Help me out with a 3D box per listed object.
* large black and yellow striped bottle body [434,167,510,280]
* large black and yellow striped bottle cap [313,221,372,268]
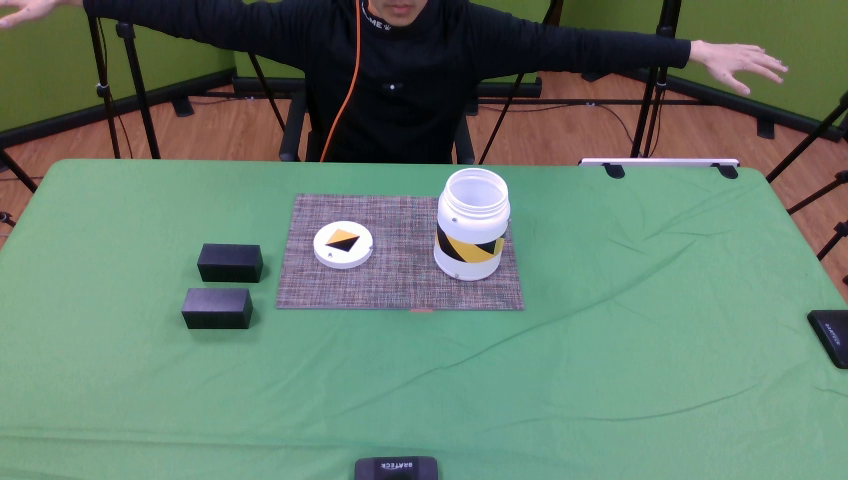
[{"bbox_3d":[0.087,-0.031,1.114,0.131,0.185,0.130,2,46,-2],"label":"large black and yellow striped bottle body"},{"bbox_3d":[-0.158,0.007,1.176,0.115,0.019,0.114,2,45,-2],"label":"large black and yellow striped bottle cap"}]
